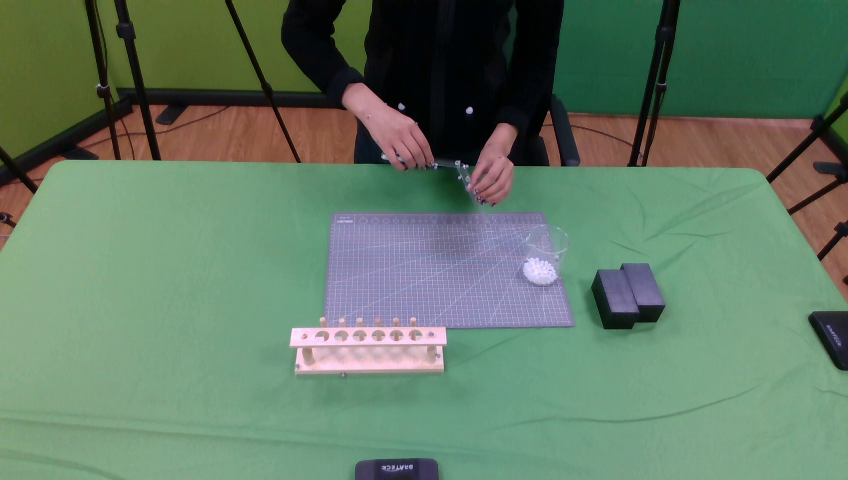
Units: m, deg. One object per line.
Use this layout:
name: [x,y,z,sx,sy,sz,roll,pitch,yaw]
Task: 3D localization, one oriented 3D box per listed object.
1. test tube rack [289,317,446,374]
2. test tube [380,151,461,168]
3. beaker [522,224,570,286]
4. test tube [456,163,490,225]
test tube rack: [-0.089,0.167,0.987,0.242,0.085,0.066,0,46,-4]
test tube: [-0.007,-0.148,1.113,0.150,0.017,0.017,6,46,2]
beaker: [0.221,0.032,1.129,0.084,0.101,0.073,-6,46,-9]
test tube: [0.095,-0.085,1.158,0.017,0.151,0.017,-19,38,15]
